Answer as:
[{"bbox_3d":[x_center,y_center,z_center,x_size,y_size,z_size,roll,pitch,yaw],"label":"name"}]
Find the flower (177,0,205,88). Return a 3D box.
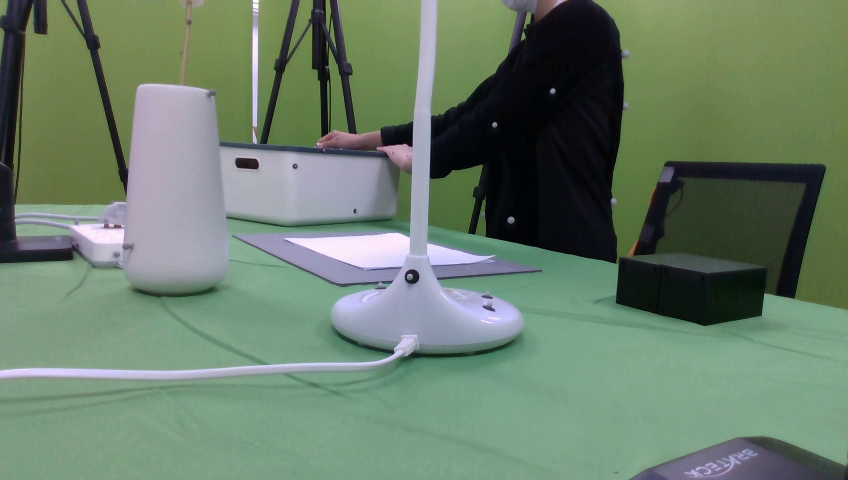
[{"bbox_3d":[-0.243,-0.131,0.609,0.044,0.361,0.038,-5,-12,12],"label":"flower"}]

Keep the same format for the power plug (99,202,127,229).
[{"bbox_3d":[-0.415,-0.026,0.848,0.073,0.052,0.035,6,5,-28],"label":"power plug"}]

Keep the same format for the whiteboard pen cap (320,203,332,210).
[{"bbox_3d":[-0.247,-0.083,1.531,0.033,0.018,0.018,9,10,39],"label":"whiteboard pen cap"}]

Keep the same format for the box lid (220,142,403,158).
[{"bbox_3d":[-0.252,-0.202,1.368,0.262,0.015,0.373,9,9,36],"label":"box lid"}]

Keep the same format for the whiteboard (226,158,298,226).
[{"bbox_3d":[-0.265,-0.116,1.372,0.216,0.143,0.307,4,7,35],"label":"whiteboard"}]

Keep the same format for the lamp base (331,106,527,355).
[{"bbox_3d":[0.006,-0.012,0.478,0.161,0.180,0.179,2,10,2],"label":"lamp base"}]

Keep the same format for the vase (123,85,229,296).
[{"bbox_3d":[-0.244,-0.047,0.598,0.098,0.200,0.098,3,9,0],"label":"vase"}]

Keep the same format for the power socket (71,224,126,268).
[{"bbox_3d":[-0.409,0.004,0.793,0.072,0.032,0.225,-2,8,-37],"label":"power socket"}]

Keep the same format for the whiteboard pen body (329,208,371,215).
[{"bbox_3d":[-0.189,-0.072,1.522,0.140,0.017,0.017,4,7,37],"label":"whiteboard pen body"}]

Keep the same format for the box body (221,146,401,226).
[{"bbox_3d":[-0.254,-0.129,1.379,0.253,0.160,0.366,8,9,36],"label":"box body"}]
